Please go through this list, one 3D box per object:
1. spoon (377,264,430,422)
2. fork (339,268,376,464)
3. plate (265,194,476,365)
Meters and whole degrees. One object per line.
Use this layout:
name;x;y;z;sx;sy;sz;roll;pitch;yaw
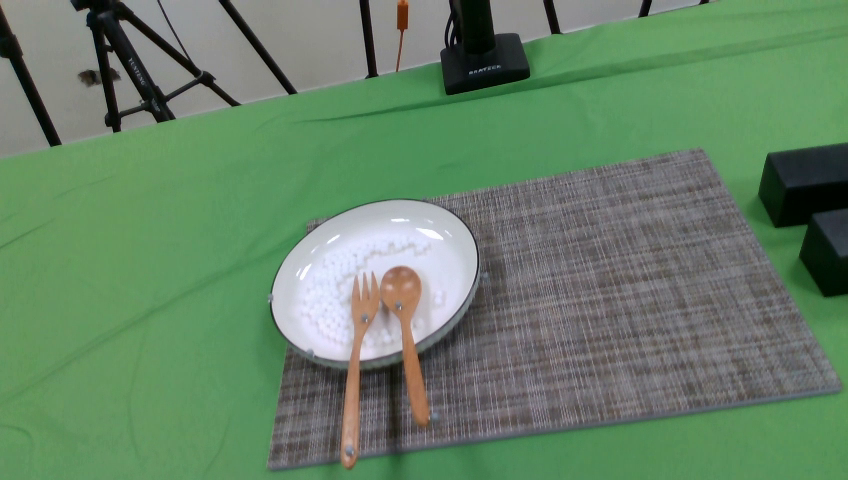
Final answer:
spoon;-0.017;0.079;0.520;0.041;0.022;0.192;-12;30;-1
fork;-0.058;0.096;0.517;0.028;0.019;0.205;-7;37;4
plate;-0.050;0.038;0.595;0.207;0.039;0.205;-8;44;9
